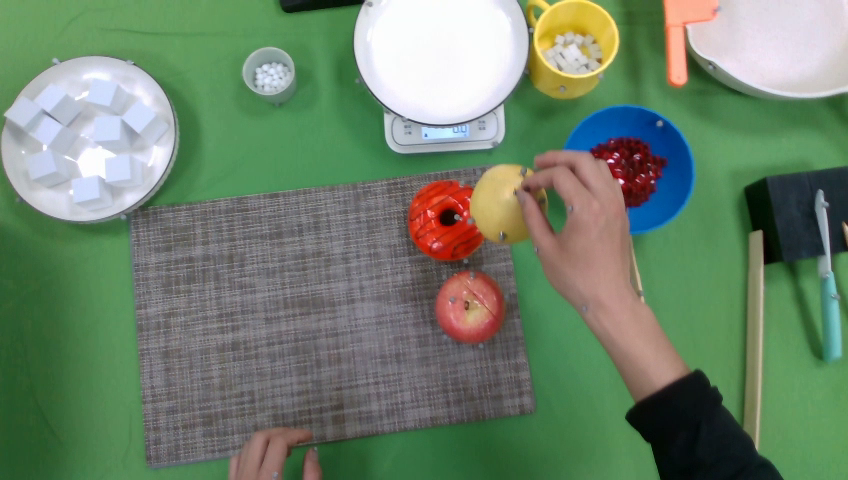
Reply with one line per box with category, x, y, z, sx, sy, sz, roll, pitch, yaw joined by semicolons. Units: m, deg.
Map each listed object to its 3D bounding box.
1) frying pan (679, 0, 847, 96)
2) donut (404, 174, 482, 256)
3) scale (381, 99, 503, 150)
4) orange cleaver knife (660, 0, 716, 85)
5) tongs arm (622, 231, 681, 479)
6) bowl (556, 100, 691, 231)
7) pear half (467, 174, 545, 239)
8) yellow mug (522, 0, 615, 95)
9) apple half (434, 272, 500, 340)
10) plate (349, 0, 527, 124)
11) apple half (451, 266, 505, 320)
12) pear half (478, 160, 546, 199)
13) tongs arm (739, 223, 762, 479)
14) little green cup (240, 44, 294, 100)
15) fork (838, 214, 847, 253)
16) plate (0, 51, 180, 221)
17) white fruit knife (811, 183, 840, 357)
frying pan;0.495;-0.228;0.725;0.307;0.103;0.485;-34;76;-4
donut;0.025;-0.029;0.715;0.099;0.048;0.098;0;82;1
scale;0.018;-0.215;0.753;0.149;0.031;0.200;-3;82;-1
orange cleaver knife;0.303;-0.286;0.713;0.077;0.012;0.210;-3;82;2
tongs arm;0.286;0.174;0.699;0.051;0.026;0.383;-7;83;-5
bowl;0.223;-0.079;0.713;0.151;0.077;0.151;0;82;-1
pear half;0.078;-0.031;0.579;0.076;0.110;0.056;16;80;0
yellow mug;0.164;-0.249;0.742;0.100;0.064;0.130;-40;83;-5
apple half;0.041;0.081;0.685;0.053;0.075;0.080;-44;87;-3
plate;0.017;-0.235;0.722;0.209;0.038;0.208;0;82;-1
apple half;0.068;0.054;0.688;0.033;0.081;0.081;-45;84;-3
pear half;0.089;-0.063;0.594;0.070;0.088;0.031;15;81;-1
tongs arm;0.371;0.171;0.702;0.028;0.028;0.386;8;83;-6
little green cup;-0.190;-0.203;0.745;0.061;0.039;0.061;0;81;0
fork;0.514;0.069;0.703;0.028;0.018;0.208;-17;98;-5
plate;-0.395;-0.123;0.730;0.208;0.039;0.207;0;82;-1
white fruit knife;0.460;0.038;0.699;0.016;0.027;0.207;-10;97;-1
